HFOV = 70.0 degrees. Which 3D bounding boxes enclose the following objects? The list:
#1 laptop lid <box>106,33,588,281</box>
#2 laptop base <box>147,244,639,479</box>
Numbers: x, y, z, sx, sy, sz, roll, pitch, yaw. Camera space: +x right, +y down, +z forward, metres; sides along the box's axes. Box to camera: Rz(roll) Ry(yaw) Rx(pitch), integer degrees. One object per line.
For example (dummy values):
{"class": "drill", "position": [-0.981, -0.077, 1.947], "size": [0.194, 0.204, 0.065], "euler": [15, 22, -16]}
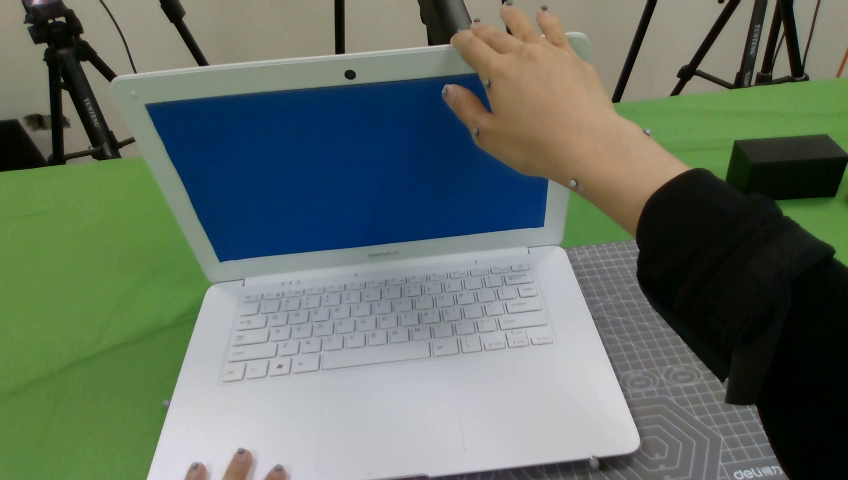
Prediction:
{"class": "laptop lid", "position": [-0.048, -0.054, 0.519], "size": [0.357, 0.244, 0.013], "euler": [-7, 49, 1]}
{"class": "laptop base", "position": [-0.030, 0.100, 0.513], "size": [0.354, 0.023, 0.233], "euler": [-7, 40, 0]}
